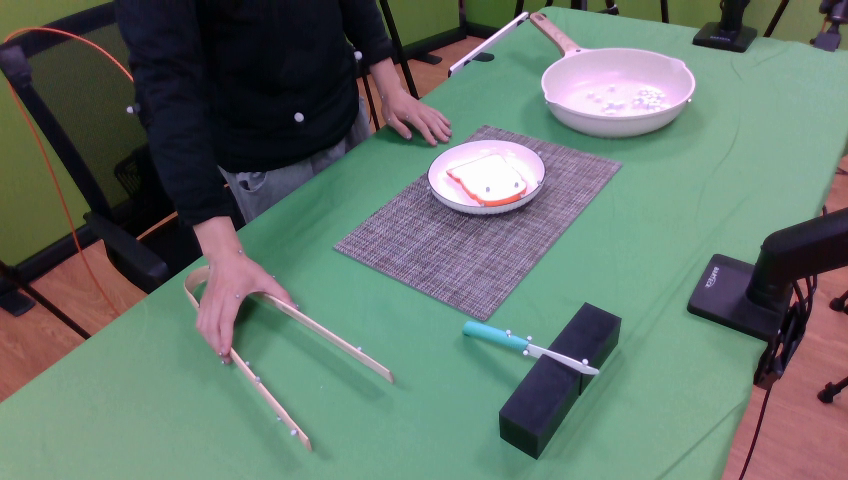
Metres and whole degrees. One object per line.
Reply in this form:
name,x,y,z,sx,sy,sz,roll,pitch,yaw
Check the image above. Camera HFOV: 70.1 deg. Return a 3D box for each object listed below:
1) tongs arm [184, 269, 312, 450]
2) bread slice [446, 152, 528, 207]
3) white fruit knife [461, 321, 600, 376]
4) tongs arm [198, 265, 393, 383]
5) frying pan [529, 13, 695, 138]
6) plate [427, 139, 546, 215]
tongs arm,-0.242,0.144,0.818,0.051,0.026,0.381,-35,46,-27
bread slice,0.117,-0.104,1.057,0.107,0.018,0.133,-24,42,-18
white fruit knife,0.125,0.133,0.752,0.205,0.027,0.016,13,44,42
tongs arm,-0.192,0.110,0.853,0.384,0.028,0.028,23,53,32
frying pan,0.348,-0.368,1.281,0.308,0.103,0.484,-16,50,-12
plate,0.109,-0.107,1.058,0.207,0.039,0.206,-4,41,4
